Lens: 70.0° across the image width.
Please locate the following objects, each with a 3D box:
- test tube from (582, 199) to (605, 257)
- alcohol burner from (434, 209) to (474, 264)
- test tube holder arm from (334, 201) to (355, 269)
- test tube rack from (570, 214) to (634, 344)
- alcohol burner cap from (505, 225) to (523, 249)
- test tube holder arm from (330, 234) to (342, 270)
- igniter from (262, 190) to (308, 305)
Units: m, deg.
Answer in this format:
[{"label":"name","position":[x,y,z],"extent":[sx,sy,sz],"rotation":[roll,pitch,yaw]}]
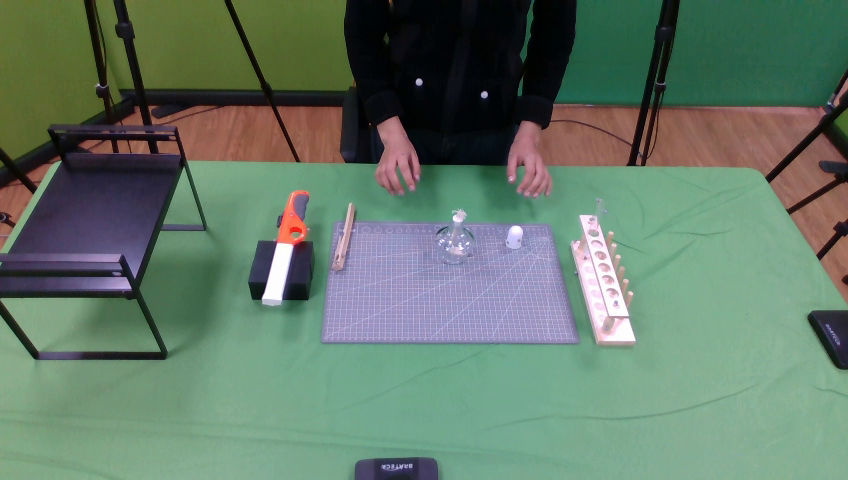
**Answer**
[{"label":"test tube","position":[0.314,-0.019,1.129],"extent":[0.017,0.151,0.017],"rotation":[-1,48,1]},{"label":"alcohol burner","position":[0.058,-0.011,1.147],"extent":[0.078,0.119,0.077],"rotation":[3,44,-3]},{"label":"test tube holder arm","position":[-0.155,-0.013,1.191],"extent":[0.013,0.015,0.177],"rotation":[-15,42,23]},{"label":"test tube rack","position":[0.333,0.067,1.116],"extent":[0.067,0.085,0.241],"rotation":[1,46,-4]},{"label":"alcohol burner cap","position":[0.180,-0.009,1.203],"extent":[0.034,0.048,0.033],"rotation":[2,47,-2]},{"label":"test tube holder arm","position":[-0.164,0.021,1.163],"extent":[0.010,0.015,0.087],"rotation":[-15,42,23]},{"label":"igniter","position":[-0.252,0.003,1.108],"extent":[0.057,0.025,0.275],"rotation":[7,47,-6]}]
